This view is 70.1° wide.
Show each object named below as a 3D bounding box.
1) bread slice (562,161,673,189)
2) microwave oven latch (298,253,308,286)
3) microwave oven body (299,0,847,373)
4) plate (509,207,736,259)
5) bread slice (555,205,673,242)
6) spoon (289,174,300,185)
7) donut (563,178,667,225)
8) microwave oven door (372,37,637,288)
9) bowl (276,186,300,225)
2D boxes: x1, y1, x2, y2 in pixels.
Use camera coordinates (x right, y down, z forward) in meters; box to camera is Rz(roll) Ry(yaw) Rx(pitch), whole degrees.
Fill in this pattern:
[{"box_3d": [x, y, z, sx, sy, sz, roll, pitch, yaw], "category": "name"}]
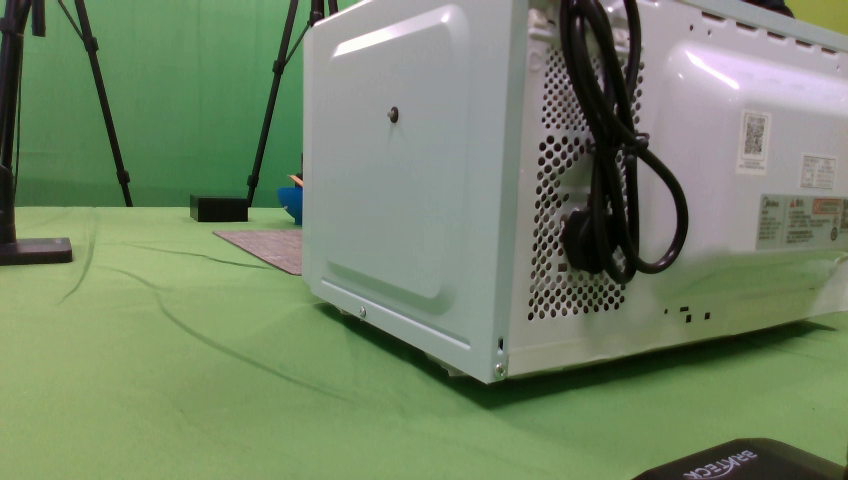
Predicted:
[{"box_3d": [0.186, -0.063, 0.579, 0.104, 0.019, 0.132, 6, 5, 15], "category": "bread slice"}, {"box_3d": [-0.081, 0.027, 0.582, 0.079, 0.029, 0.030, -2, 7, -32], "category": "microwave oven latch"}, {"box_3d": [0.152, -0.055, 0.542, 0.444, 0.260, 0.324, -2, 7, -33], "category": "microwave oven body"}, {"box_3d": [0.186, -0.009, 0.588, 0.208, 0.039, 0.207, 1, 5, 0], "category": "plate"}, {"box_3d": [0.184, -0.016, 0.580, 0.107, 0.018, 0.134, -4, 8, 10], "category": "bread slice"}, {"box_3d": [-0.260, -0.111, 1.343, 0.042, 0.021, 0.192, -8, 34, -30], "category": "spoon"}, {"box_3d": [0.185, -0.037, 0.587, 0.099, 0.048, 0.099, -2, 3, 0], "category": "donut"}, {"box_3d": [0.110, -0.080, 0.686, 0.358, 0.243, 0.039, -2, 9, -33], "category": "microwave oven door"}, {"box_3d": [-0.241, -0.073, 1.302, 0.151, 0.077, 0.151, 2, 7, 0], "category": "bowl"}]
